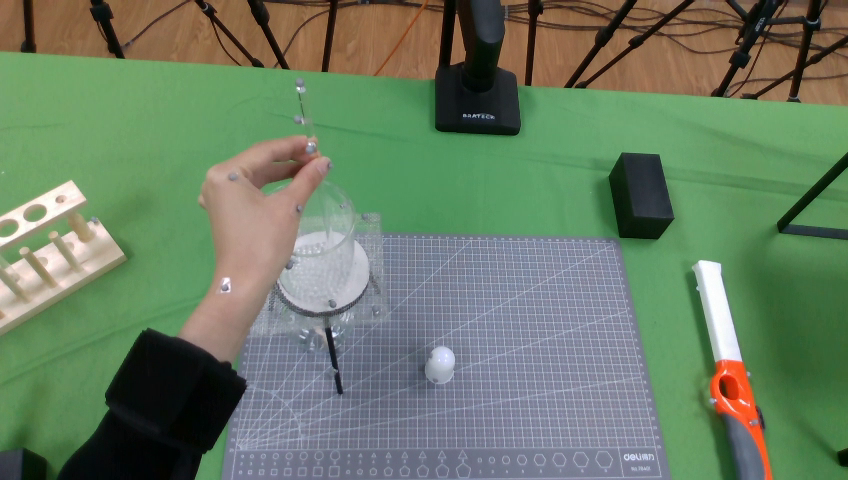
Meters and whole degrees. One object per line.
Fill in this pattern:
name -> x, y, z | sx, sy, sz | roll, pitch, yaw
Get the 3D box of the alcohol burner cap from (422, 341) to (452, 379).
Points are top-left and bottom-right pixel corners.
alcohol burner cap -> 0.015, 0.126, 0.645 | 0.034, 0.048, 0.033 | 2, 60, -3

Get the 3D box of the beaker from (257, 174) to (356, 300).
beaker -> -0.100, 0.001, 0.521 | 0.084, 0.101, 0.073 | 24, 60, 8

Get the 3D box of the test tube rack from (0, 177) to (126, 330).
test tube rack -> -0.453, 0.041, 0.628 | 0.242, 0.086, 0.066 | -36, 69, -23

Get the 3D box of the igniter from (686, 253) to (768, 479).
igniter -> 0.337, 0.139, 0.680 | 0.057, 0.025, 0.274 | 9, 59, -12

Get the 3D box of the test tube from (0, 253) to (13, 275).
test tube -> -0.447, -0.007, 0.599 | 0.017, 0.151, 0.017 | 3, 54, -4

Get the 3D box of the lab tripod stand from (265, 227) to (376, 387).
lab tripod stand -> -0.102, 0.061, 0.619 | 0.148, 0.132, 0.147 | 3, 60, -5

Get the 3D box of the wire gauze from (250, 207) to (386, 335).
wire gauze -> -0.100, 0.024, 0.565 | 0.121, 0.011, 0.124 | -4, 64, -6

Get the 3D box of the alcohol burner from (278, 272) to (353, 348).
alcohol burner -> -0.112, 0.066, 0.627 | 0.078, 0.120, 0.077 | 4, 58, -6

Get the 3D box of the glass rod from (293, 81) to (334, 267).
glass rod -> -0.086, -0.041, 0.484 | 0.008, 0.201, 0.008 | 0, 50, 0
